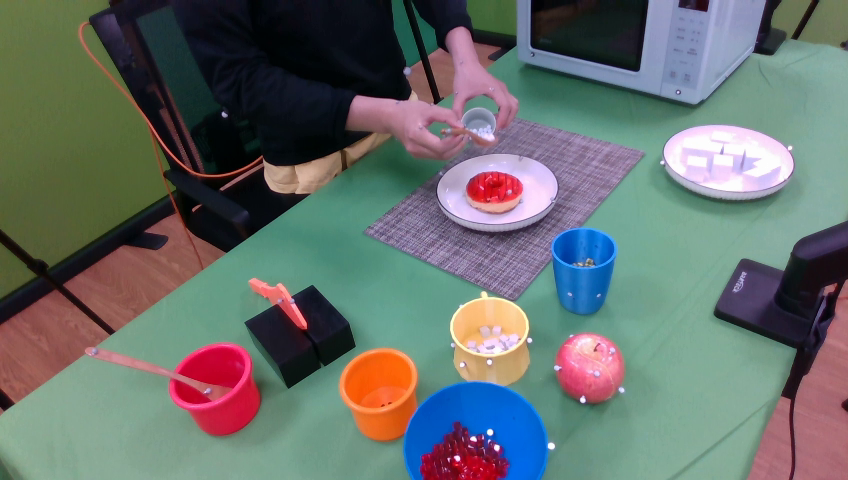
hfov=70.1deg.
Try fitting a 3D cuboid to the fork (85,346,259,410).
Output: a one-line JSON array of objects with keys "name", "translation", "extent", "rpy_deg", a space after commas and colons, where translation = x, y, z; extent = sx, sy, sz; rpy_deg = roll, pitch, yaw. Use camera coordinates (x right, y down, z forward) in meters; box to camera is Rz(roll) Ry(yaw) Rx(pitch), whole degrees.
[{"name": "fork", "translation": [-0.298, 0.166, 0.728], "extent": [0.209, 0.018, 0.028], "rpy_deg": [28, 47, -24]}]

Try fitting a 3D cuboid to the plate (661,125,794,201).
[{"name": "plate", "translation": [0.513, -0.128, 1.035], "extent": [0.207, 0.039, 0.206], "rpy_deg": [-4, 40, 4]}]

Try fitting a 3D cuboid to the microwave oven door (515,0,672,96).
[{"name": "microwave oven door", "translation": [0.344, -0.455, 1.260], "extent": [0.353, 0.245, 0.039], "rpy_deg": [26, 51, 33]}]

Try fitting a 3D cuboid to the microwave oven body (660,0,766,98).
[{"name": "microwave oven body", "translation": [0.472, -0.513, 1.317], "extent": [0.438, 0.261, 0.327], "rpy_deg": [26, 51, 34]}]

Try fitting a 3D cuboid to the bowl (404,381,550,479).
[{"name": "bowl", "translation": [0.058, 0.235, 0.645], "extent": [0.151, 0.077, 0.150], "rpy_deg": [-4, 39, 4]}]

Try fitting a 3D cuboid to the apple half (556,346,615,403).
[{"name": "apple half", "translation": [0.181, 0.167, 0.709], "extent": [0.080, 0.081, 0.033], "rpy_deg": [29, 50, 35]}]

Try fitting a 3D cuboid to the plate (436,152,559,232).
[{"name": "plate", "translation": [0.125, -0.078, 1.029], "extent": [0.209, 0.038, 0.208], "rpy_deg": [-4, 41, 4]}]

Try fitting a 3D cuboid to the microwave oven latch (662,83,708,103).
[{"name": "microwave oven latch", "translation": [0.517, -0.296, 1.204], "extent": [0.078, 0.029, 0.030], "rpy_deg": [27, 52, 35]}]

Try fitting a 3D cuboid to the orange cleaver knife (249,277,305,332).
[{"name": "orange cleaver knife", "translation": [-0.210, 0.088, 0.855], "extent": [0.012, 0.077, 0.210], "rpy_deg": [-28, 15, -25]}]

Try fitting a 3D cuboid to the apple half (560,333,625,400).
[{"name": "apple half", "translation": [0.209, 0.147, 0.730], "extent": [0.080, 0.075, 0.053], "rpy_deg": [26, 47, 38]}]

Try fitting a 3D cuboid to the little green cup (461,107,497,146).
[{"name": "little green cup", "translation": [0.094, -0.192, 1.038], "extent": [0.061, 0.039, 0.061], "rpy_deg": [-1, 75, 4]}]

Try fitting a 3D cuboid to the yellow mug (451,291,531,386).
[{"name": "yellow mug", "translation": [0.086, 0.120, 0.786], "extent": [0.100, 0.064, 0.130], "rpy_deg": [-7, 39, 1]}]

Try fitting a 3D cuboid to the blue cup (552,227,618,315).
[{"name": "blue cup", "translation": [0.218, 0.047, 0.825], "extent": [0.092, 0.100, 0.092], "rpy_deg": [-6, 39, 5]}]

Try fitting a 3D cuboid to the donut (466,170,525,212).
[{"name": "donut", "translation": [0.121, -0.083, 1.019], "extent": [0.099, 0.048, 0.098], "rpy_deg": [-4, 38, 4]}]

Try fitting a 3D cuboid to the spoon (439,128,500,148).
[{"name": "spoon", "translation": [0.067, -0.156, 0.909], "extent": [0.041, 0.021, 0.195], "rpy_deg": [11, 6, 27]}]
